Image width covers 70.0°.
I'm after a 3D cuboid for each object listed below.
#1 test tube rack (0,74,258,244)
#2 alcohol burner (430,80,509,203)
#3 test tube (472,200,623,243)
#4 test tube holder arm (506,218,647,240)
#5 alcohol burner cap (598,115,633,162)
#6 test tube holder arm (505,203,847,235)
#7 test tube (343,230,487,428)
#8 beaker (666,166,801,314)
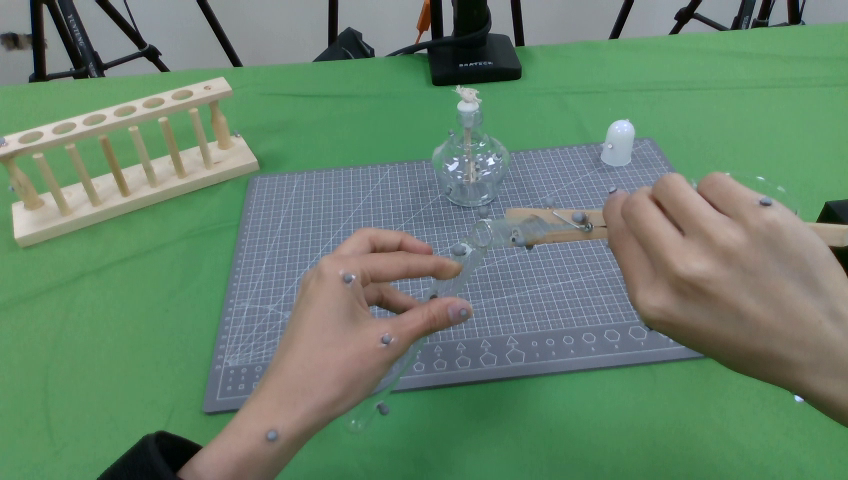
[{"bbox_3d":[-0.307,-0.088,0.625,0.243,0.086,0.066,-23,46,-20],"label":"test tube rack"},{"bbox_3d":[0.043,-0.097,0.586,0.078,0.120,0.077,-3,41,3],"label":"alcohol burner"},{"bbox_3d":[0.084,-0.013,0.378,0.151,0.017,0.017,-8,36,-43],"label":"test tube"},{"bbox_3d":[0.084,-0.007,0.346,0.015,0.010,0.087,-10,4,-41],"label":"test tube holder arm"},{"bbox_3d":[0.205,-0.110,0.643,0.034,0.048,0.033,-2,43,2],"label":"alcohol burner cap"},{"bbox_3d":[0.114,-0.012,0.312,0.015,0.013,0.177,-11,10,-41],"label":"test tube holder arm"},{"bbox_3d":[-0.009,0.057,0.358,0.017,0.151,0.017,29,20,-11],"label":"test tube"},{"bbox_3d":[0.233,0.002,0.476,0.074,0.101,0.083,-26,46,-23],"label":"beaker"}]
